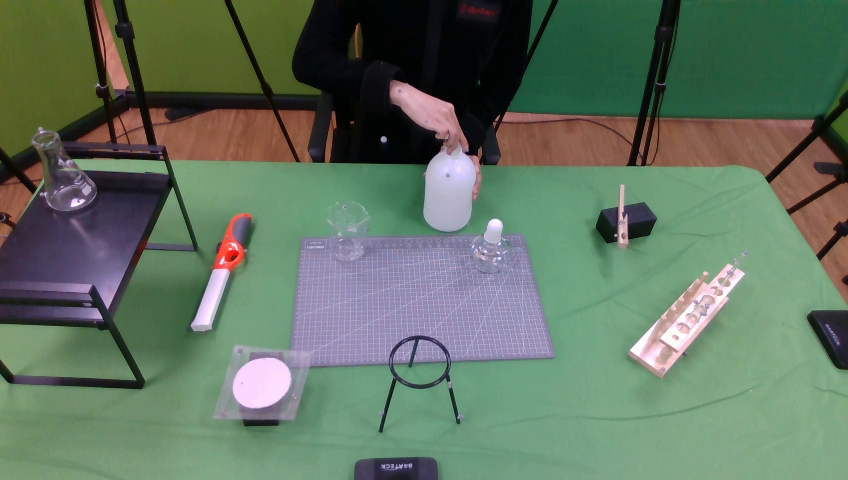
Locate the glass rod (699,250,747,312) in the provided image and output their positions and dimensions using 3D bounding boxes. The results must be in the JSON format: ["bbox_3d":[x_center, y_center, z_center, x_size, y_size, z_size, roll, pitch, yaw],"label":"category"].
[{"bbox_3d":[0.500,0.075,1.021,0.008,0.201,0.008,0,55,0],"label":"glass rod"}]

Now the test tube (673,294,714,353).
[{"bbox_3d":[0.428,0.137,0.978,0.017,0.151,0.017,4,47,-4],"label":"test tube"}]

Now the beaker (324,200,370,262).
[{"bbox_3d":[-0.143,-0.015,1.142,0.084,0.101,0.073,1,46,-4],"label":"beaker"}]

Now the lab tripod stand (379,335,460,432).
[{"bbox_3d":[-0.011,0.214,0.912,0.148,0.132,0.147,1,45,0],"label":"lab tripod stand"}]

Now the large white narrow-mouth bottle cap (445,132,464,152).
[{"bbox_3d":[0.057,-0.181,1.121,0.038,0.024,0.037,2,46,-2],"label":"large white narrow-mouth bottle cap"}]

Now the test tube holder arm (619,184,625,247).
[{"bbox_3d":[0.396,-0.052,1.210,0.013,0.015,0.177,14,46,2],"label":"test tube holder arm"}]

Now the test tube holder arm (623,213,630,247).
[{"bbox_3d":[0.393,-0.020,1.179,0.010,0.015,0.087,13,46,2],"label":"test tube holder arm"}]

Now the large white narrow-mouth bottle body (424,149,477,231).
[{"bbox_3d":[0.054,-0.115,1.191,0.102,0.195,0.101,2,46,-2],"label":"large white narrow-mouth bottle body"}]

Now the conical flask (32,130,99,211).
[{"bbox_3d":[-0.565,-0.110,0.944,0.075,0.122,0.075,2,46,-2],"label":"conical flask"}]

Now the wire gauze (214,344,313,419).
[{"bbox_3d":[-0.241,0.213,0.916,0.121,0.011,0.124,5,46,1],"label":"wire gauze"}]

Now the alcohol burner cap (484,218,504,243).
[{"bbox_3d":[0.130,-0.021,1.106,0.034,0.048,0.033,3,50,-4],"label":"alcohol burner cap"}]

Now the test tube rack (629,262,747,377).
[{"bbox_3d":[0.464,0.126,1.060,0.242,0.085,0.066,-34,56,-31],"label":"test tube rack"}]

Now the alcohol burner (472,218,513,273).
[{"bbox_3d":[0.128,0.005,1.132,0.078,0.120,0.077,0,47,0],"label":"alcohol burner"}]

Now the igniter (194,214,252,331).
[{"bbox_3d":[-0.367,0.050,1.119,0.057,0.025,0.275,-4,46,7],"label":"igniter"}]
